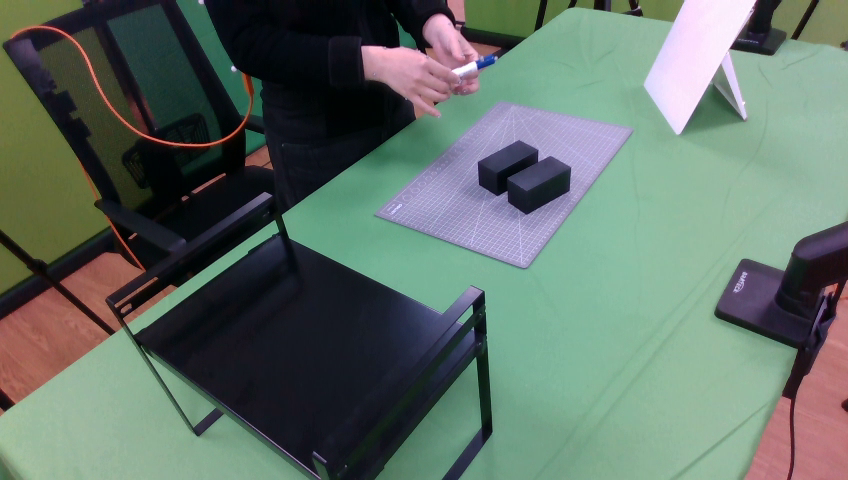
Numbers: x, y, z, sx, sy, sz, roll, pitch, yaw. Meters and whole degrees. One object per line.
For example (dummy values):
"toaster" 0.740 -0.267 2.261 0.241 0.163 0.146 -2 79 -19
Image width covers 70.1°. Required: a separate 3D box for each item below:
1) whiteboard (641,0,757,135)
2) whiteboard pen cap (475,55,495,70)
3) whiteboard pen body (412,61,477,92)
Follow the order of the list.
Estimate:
"whiteboard" 0.575 -0.367 1.147 0.144 0.305 0.216 10 39 -9
"whiteboard pen cap" 0.103 -0.299 1.024 0.033 0.018 0.018 -21 41 1
"whiteboard pen body" 0.047 -0.282 1.026 0.141 0.017 0.017 -20 41 0
